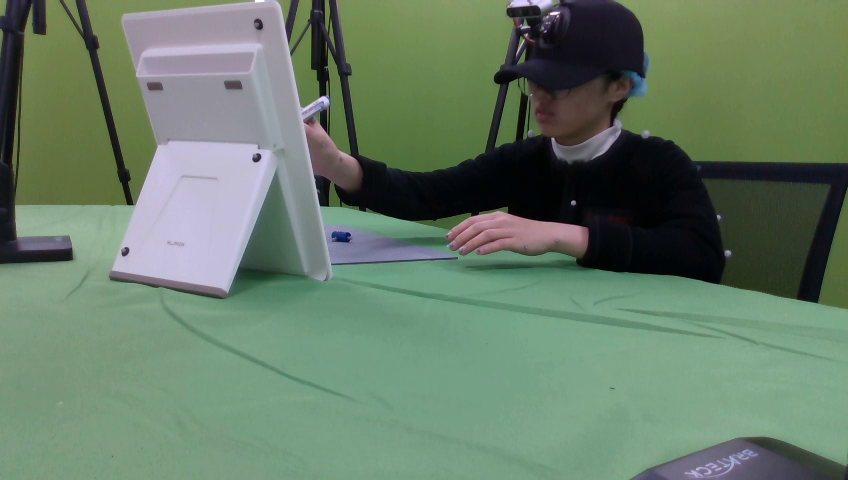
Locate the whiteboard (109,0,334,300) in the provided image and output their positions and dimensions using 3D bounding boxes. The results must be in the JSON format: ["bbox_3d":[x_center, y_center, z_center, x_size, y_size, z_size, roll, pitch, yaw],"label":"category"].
[{"bbox_3d":[-0.247,-0.072,0.625,0.216,0.305,0.144,6,28,26],"label":"whiteboard"}]

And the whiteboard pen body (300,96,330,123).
[{"bbox_3d":[-0.173,-0.167,0.832,0.017,0.017,0.141,6,36,29],"label":"whiteboard pen body"}]

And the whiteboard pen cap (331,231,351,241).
[{"bbox_3d":[-0.139,-0.007,1.012,0.033,0.018,0.018,4,7,35],"label":"whiteboard pen cap"}]
